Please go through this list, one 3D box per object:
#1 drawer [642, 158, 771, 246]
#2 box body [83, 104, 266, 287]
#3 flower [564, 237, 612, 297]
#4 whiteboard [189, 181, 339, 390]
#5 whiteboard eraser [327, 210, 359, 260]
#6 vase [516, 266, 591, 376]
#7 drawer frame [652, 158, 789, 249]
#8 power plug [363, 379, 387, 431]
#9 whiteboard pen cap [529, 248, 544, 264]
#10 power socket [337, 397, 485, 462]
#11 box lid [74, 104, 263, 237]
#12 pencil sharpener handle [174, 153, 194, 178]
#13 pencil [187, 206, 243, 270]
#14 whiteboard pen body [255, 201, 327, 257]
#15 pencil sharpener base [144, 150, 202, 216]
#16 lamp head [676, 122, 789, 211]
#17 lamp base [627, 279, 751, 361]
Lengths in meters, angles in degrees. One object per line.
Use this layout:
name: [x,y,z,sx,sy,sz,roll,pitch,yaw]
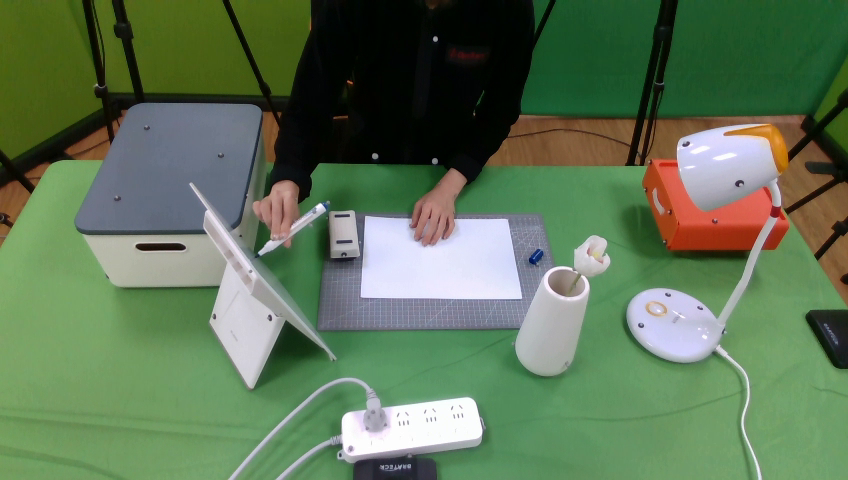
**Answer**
drawer: [0.565,-0.076,1.211,0.212,0.073,0.193,2,45,-2]
box body: [-0.447,-0.088,1.150,0.254,0.161,0.361,-1,46,-5]
flower: [0.206,0.088,0.893,0.038,0.363,0.044,-16,67,-9]
whiteboard: [-0.292,0.096,0.929,0.144,0.307,0.216,-37,57,-10]
whiteboard eraser: [-0.158,-0.010,1.177,0.055,0.042,0.112,-5,47,-7]
vase: [0.208,0.132,0.964,0.098,0.201,0.097,3,46,-3]
drawer frame: [0.571,-0.075,1.214,0.214,0.083,0.200,0,45,-1]
power plug: [-0.072,0.252,0.910,0.035,0.053,0.072,3,45,-1]
whiteboard pen cap: [0.219,0.032,1.183,0.018,0.018,0.033,31,51,23]
power socket: [-0.018,0.285,0.915,0.227,0.033,0.071,-5,46,-8]
box lid: [-0.443,-0.139,1.095,0.263,0.015,0.369,-1,45,-5]
pencil sharpener handle: [-0.479,-0.156,1.225,0.036,0.068,0.030,24,48,2]
pencil: [-0.401,-0.009,1.176,0.012,0.012,0.193,15,44,10]
whiteboard pen body: [-0.213,-0.016,0.968,0.141,0.017,0.017,-39,58,-14]
pencil sharpener base: [-0.493,-0.113,1.199,0.061,0.107,0.076,15,47,11]
lamp head: [0.423,-0.104,0.819,0.122,0.113,0.112,-13,33,40]
lamp base: [0.459,0.100,1.027,0.178,0.181,0.160,27,51,17]
